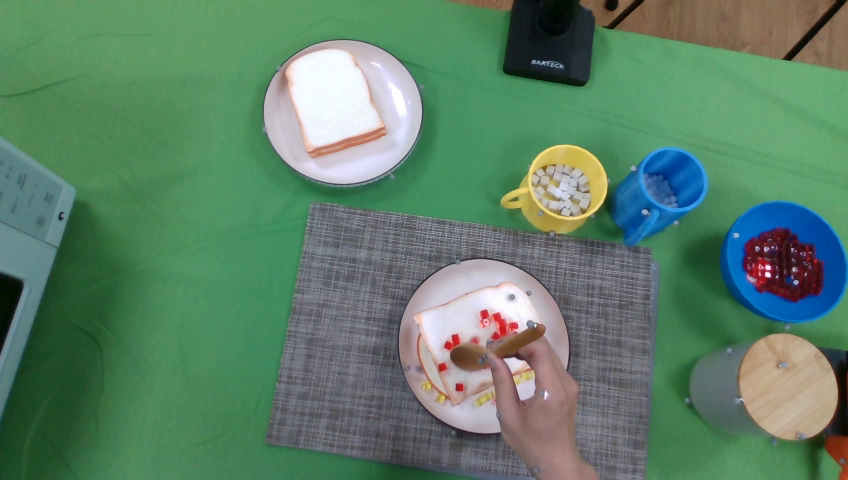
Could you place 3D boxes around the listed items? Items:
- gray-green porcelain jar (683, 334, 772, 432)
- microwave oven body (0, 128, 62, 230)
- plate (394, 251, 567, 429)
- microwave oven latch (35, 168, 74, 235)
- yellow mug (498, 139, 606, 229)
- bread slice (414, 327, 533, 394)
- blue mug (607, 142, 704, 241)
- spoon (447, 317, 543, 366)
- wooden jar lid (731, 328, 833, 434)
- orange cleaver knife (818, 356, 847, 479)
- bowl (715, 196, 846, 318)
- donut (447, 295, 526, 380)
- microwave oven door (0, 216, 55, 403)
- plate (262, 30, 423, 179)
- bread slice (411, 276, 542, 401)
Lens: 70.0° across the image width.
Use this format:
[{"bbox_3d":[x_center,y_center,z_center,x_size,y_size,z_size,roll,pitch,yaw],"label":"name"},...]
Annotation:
[{"bbox_3d":[0.370,0.164,0.697,0.106,0.127,0.105,1,76,-3],"label":"gray-green porcelain jar"},{"bbox_3d":[-0.624,0.069,0.592,0.326,0.261,0.439,11,76,-1],"label":"microwave oven body"},{"bbox_3d":[0.067,0.119,0.733,0.209,0.038,0.208,1,76,-3],"label":"plate"},{"bbox_3d":[-0.451,-0.048,0.729,0.030,0.029,0.079,14,76,0],"label":"microwave oven latch"},{"bbox_3d":[0.158,-0.067,0.773,0.131,0.064,0.099,-12,76,-4],"label":"yellow mug"},{"bbox_3d":[0.056,0.127,0.735,0.132,0.019,0.104,-23,77,-12],"label":"bread slice"},{"bbox_3d":[0.279,-0.050,0.755,0.082,0.106,0.116,29,77,5],"label":"blue mug"},{"bbox_3d":[0.066,0.099,0.574,0.042,0.194,0.021,32,68,-6],"label":"spoon"},{"bbox_3d":[0.372,0.147,0.636,0.108,0.021,0.108,1,79,-4],"label":"wooden jar lid"},{"bbox_3d":[0.489,0.233,0.708,0.012,0.077,0.212,8,102,0],"label":"orange cleaver knife"},{"bbox_3d":[0.428,0.028,0.758,0.151,0.077,0.150,1,76,-3],"label":"bowl"},{"bbox_3d":[0.074,0.113,0.706,0.099,0.048,0.098,5,77,-20],"label":"donut"},{"bbox_3d":[-0.488,0.135,0.578,0.039,0.245,0.354,10,75,0],"label":"microwave oven door"},{"bbox_3d":[-0.106,-0.175,0.800,0.208,0.039,0.206,1,76,-3],"label":"plate"},{"bbox_3d":[0.063,0.100,0.677,0.134,0.018,0.106,-26,82,-13],"label":"bread slice"}]
